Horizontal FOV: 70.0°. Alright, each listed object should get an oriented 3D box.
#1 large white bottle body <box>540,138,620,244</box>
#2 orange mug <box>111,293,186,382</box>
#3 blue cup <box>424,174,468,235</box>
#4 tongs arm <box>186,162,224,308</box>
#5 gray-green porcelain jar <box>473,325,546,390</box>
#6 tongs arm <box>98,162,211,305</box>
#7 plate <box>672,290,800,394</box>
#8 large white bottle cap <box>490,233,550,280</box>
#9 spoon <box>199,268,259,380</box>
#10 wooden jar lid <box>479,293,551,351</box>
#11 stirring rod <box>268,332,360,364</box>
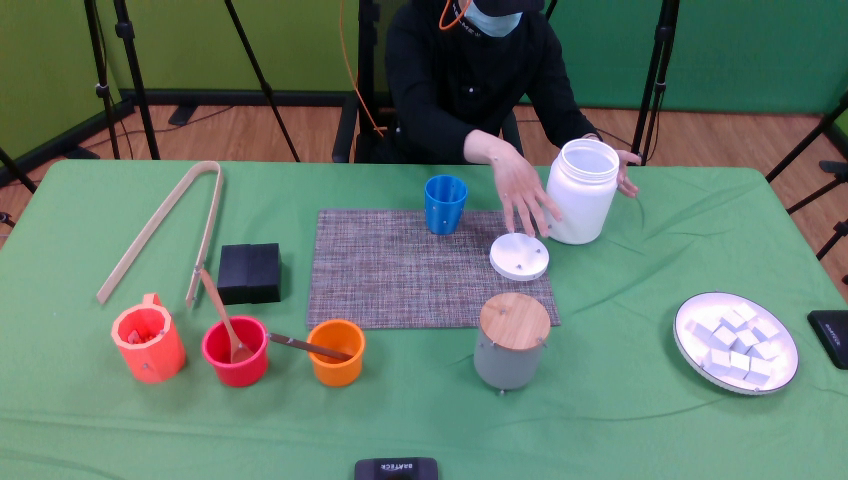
[{"bbox_3d":[0.308,-0.096,1.197,0.131,0.185,0.130,2,46,-2],"label":"large white bottle body"},{"bbox_3d":[-0.435,0.149,0.969,0.083,0.101,0.125,-5,51,-8],"label":"orange mug"},{"bbox_3d":[0.039,-0.065,1.201,0.093,0.101,0.092,3,47,-3],"label":"blue cup"},{"bbox_3d":[-0.435,-0.025,1.181,0.051,0.027,0.382,-3,45,1],"label":"tongs arm"},{"bbox_3d":[0.135,0.170,0.969,0.106,0.127,0.105,2,46,-2],"label":"gray-green porcelain jar"},{"bbox_3d":[-0.519,-0.027,1.184,0.028,0.028,0.385,5,45,13],"label":"tongs arm"},{"bbox_3d":[0.533,0.178,1.050,0.208,0.039,0.206,2,46,-2],"label":"plate"},{"bbox_3d":[0.186,0.031,1.176,0.115,0.018,0.114,2,46,-2],"label":"large white bottle cap"},{"bbox_3d":[-0.312,0.132,0.962,0.041,0.021,0.194,-24,96,-22],"label":"spoon"},{"bbox_3d":[0.138,0.127,0.925,0.108,0.021,0.107,1,47,-1],"label":"wooden jar lid"},{"bbox_3d":[-0.167,0.169,0.941,0.177,0.006,0.014,26,26,-41],"label":"stirring rod"}]
